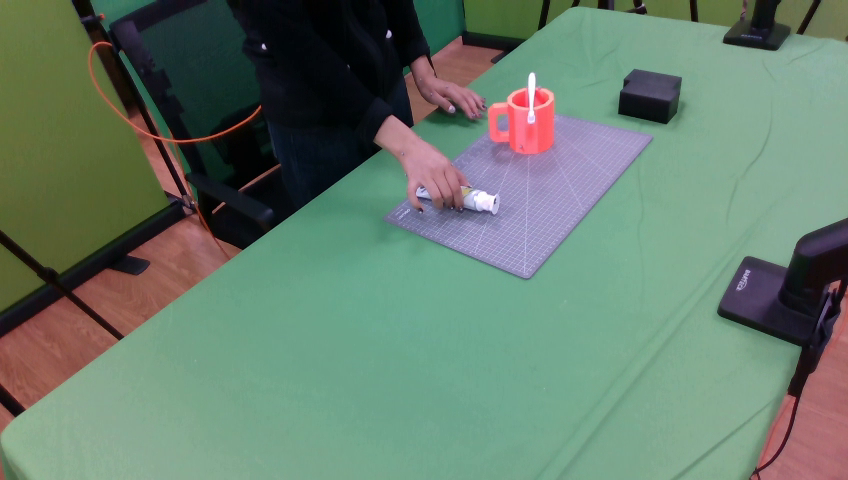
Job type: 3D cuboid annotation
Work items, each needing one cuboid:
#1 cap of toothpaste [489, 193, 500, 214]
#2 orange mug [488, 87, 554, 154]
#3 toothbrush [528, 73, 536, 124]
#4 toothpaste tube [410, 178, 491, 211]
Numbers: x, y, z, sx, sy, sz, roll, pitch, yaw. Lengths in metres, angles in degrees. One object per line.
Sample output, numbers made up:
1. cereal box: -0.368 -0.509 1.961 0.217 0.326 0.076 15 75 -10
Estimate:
1. cap of toothpaste: 0.117 -0.061 1.009 0.011 0.037 0.037 12 45 23
2. orange mug: 0.185 -0.227 1.151 0.126 0.101 0.083 1 41 5
3. toothbrush: 0.198 -0.267 1.114 0.014 0.017 0.181 -4 40 13
4. toothpaste tube: 0.053 -0.081 1.056 0.164 0.035 0.055 16 42 34
